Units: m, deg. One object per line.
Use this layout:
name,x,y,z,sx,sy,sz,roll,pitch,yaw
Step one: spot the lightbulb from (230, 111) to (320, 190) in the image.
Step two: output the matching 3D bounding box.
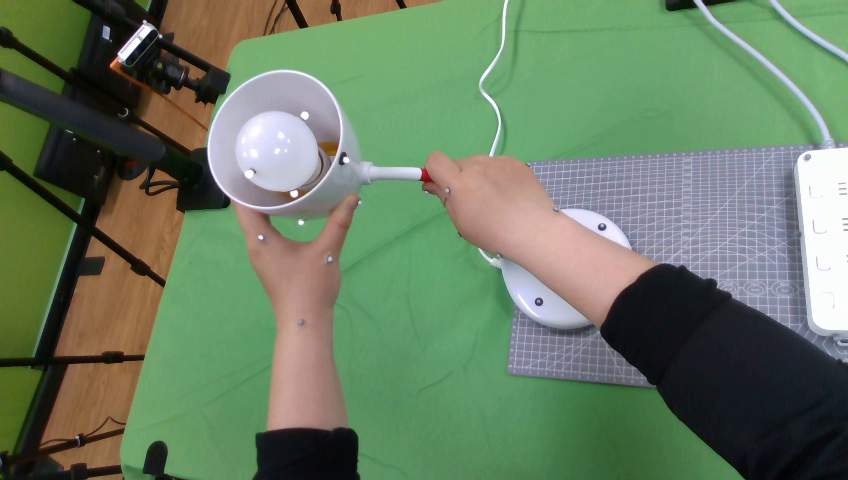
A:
lightbulb,-0.111,-0.065,0.483,0.059,0.108,0.059,-1,84,11

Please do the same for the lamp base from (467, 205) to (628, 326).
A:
lamp base,0.132,0.005,0.703,0.178,0.182,0.159,-7,66,25

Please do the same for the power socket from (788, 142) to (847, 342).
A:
power socket,0.442,-0.004,0.654,0.072,0.033,0.225,-1,69,23

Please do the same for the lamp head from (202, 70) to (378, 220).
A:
lamp head,-0.101,-0.065,0.507,0.112,0.124,0.112,-4,77,18
